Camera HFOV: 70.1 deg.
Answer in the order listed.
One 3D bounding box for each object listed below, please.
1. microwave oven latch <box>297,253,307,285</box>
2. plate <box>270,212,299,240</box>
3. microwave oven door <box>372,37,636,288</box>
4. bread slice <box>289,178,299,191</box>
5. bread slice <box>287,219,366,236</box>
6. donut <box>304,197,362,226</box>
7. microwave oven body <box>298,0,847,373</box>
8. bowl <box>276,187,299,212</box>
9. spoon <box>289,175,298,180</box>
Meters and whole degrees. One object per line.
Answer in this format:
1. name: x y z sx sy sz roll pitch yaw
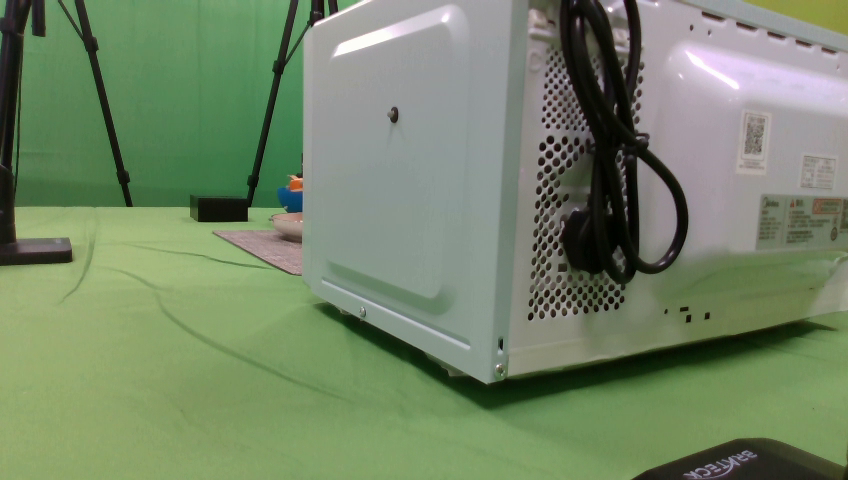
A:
1. microwave oven latch: -0.082 0.027 0.582 0.079 0.029 0.030 -1 7 -33
2. plate: -0.162 -0.022 1.058 0.208 0.039 0.207 2 7 0
3. microwave oven door: 0.109 -0.080 0.686 0.358 0.243 0.039 -2 9 -33
4. bread slice: -0.169 -0.099 1.055 0.132 0.019 0.104 -4 1 -10
5. bread slice: -0.170 -0.023 1.056 0.134 0.018 0.107 1 7 -6
6. donut: -0.159 -0.050 1.055 0.099 0.048 0.099 3 8 0
7. microwave oven body: 0.151 -0.055 0.542 0.444 0.260 0.324 -1 7 -33
8. bowl: -0.241 -0.073 1.302 0.151 0.077 0.151 2 7 0
9. spoon: -0.260 -0.110 1.343 0.042 0.021 0.192 -8 33 -30
